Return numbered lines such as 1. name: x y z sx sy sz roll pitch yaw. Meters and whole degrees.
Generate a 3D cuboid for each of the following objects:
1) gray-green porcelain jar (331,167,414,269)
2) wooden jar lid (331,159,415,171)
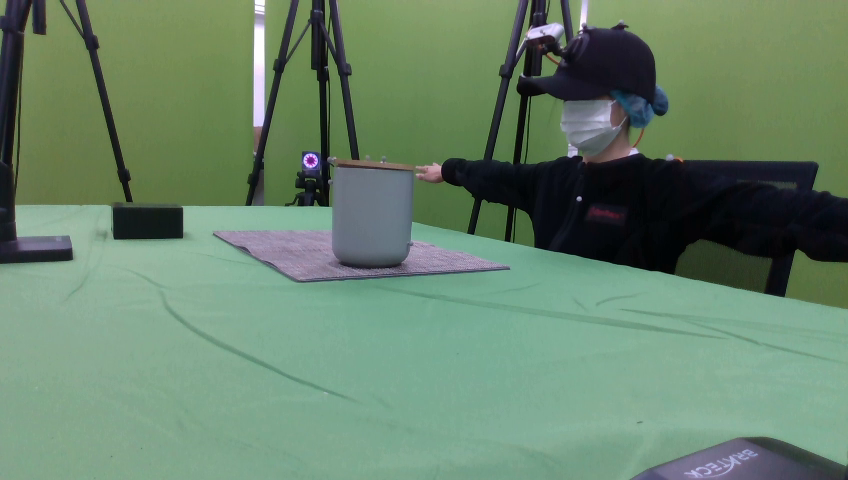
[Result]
1. gray-green porcelain jar: -0.068 -0.030 0.791 0.106 0.126 0.106 3 7 0
2. wooden jar lid: -0.066 -0.091 0.783 0.108 0.020 0.108 5 8 0
